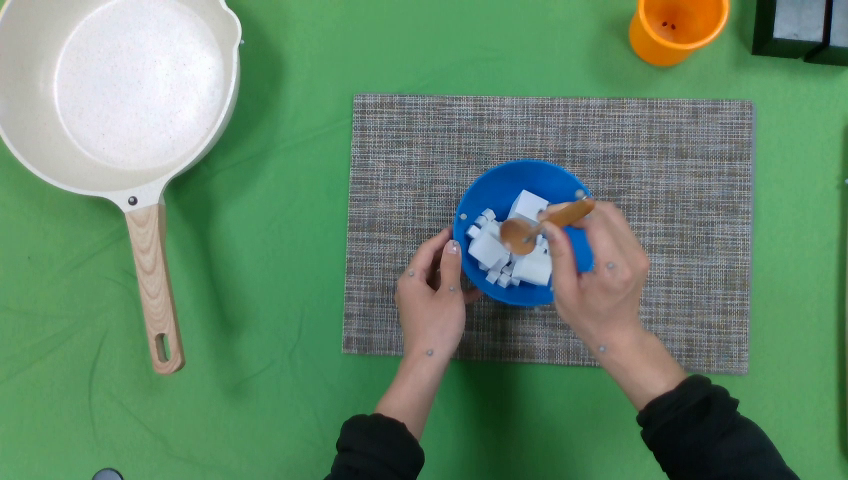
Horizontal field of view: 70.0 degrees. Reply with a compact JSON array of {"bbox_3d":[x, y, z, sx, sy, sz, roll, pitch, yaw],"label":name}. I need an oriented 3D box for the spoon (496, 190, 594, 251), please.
[{"bbox_3d":[0.099,-0.014,0.516,0.021,0.193,0.041,-37,90,-10],"label":"spoon"}]

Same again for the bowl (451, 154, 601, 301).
[{"bbox_3d":[0.106,-0.011,0.647,0.151,0.077,0.151,0,88,4],"label":"bowl"}]

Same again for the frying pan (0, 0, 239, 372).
[{"bbox_3d":[-0.322,-0.095,0.673,0.307,0.103,0.485,-14,79,5],"label":"frying pan"}]

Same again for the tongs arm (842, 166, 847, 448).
[{"bbox_3d":[0.468,0.053,0.648,0.028,0.028,0.387,1,88,3],"label":"tongs arm"}]
